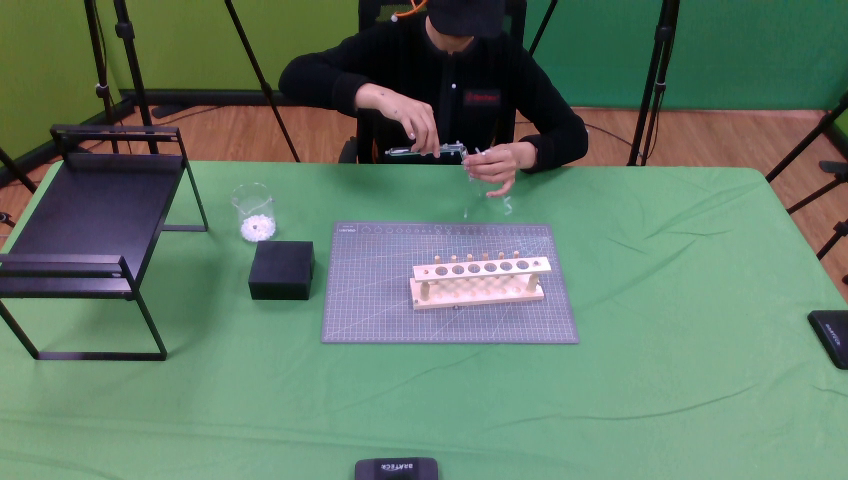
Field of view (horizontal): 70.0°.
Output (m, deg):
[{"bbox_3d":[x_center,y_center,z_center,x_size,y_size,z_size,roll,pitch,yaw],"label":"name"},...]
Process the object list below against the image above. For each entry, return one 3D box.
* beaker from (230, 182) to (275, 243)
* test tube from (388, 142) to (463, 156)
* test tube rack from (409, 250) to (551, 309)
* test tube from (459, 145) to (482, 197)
[{"bbox_3d":[-0.328,-0.049,1.166,0.074,0.101,0.083,2,47,-2],"label":"beaker"},{"bbox_3d":[0.003,-0.172,1.142,0.150,0.017,0.017,-8,47,-21],"label":"test tube"},{"bbox_3d":[0.098,0.065,1.096,0.243,0.085,0.066,-4,47,-8],"label":"test tube rack"},{"bbox_3d":[0.095,-0.137,1.229,0.017,0.151,0.017,-10,53,13],"label":"test tube"}]
